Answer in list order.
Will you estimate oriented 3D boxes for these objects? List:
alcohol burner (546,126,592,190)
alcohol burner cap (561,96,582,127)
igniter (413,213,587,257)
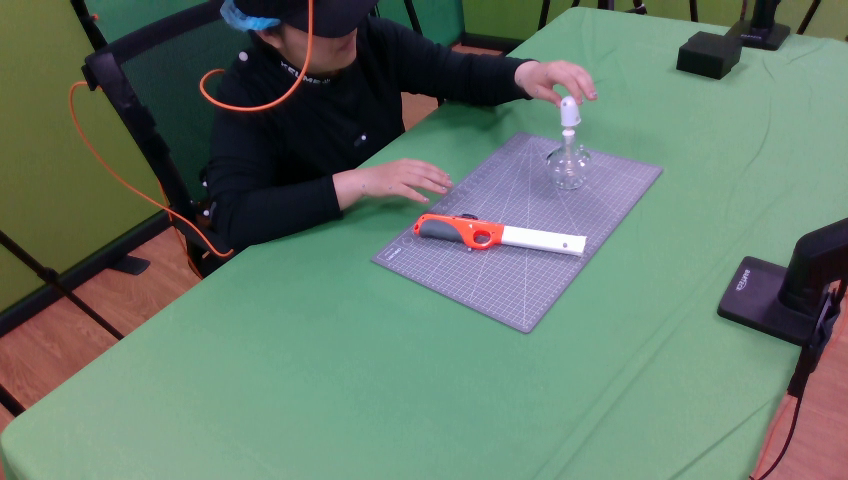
[{"bbox_3d":[0.248,-0.147,1.034,0.078,0.120,0.077,-7,41,6],"label":"alcohol burner"},{"bbox_3d":[0.240,-0.213,0.989,0.034,0.048,0.033,-11,38,9],"label":"alcohol burner cap"},{"bbox_3d":[0.116,-0.009,0.959,0.275,0.025,0.057,8,65,17],"label":"igniter"}]
